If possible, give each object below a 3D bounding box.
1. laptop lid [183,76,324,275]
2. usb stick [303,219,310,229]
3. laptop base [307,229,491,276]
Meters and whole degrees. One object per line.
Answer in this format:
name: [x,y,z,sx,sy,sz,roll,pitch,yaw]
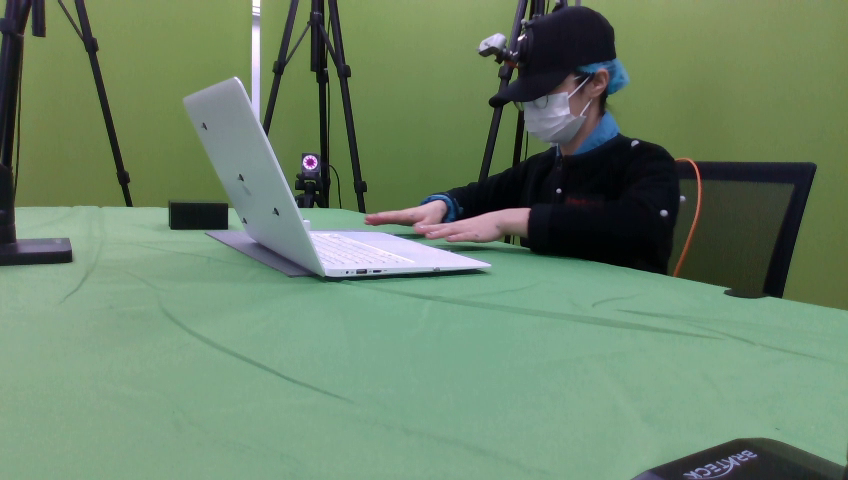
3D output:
laptop lid: [-0.237,-0.085,0.791,0.013,0.242,0.355,-29,22,-23]
usb stick: [-0.238,-0.024,1.101,0.021,0.027,0.059,9,13,39]
laptop base: [-0.094,0.015,0.888,0.237,0.023,0.352,2,7,-30]
